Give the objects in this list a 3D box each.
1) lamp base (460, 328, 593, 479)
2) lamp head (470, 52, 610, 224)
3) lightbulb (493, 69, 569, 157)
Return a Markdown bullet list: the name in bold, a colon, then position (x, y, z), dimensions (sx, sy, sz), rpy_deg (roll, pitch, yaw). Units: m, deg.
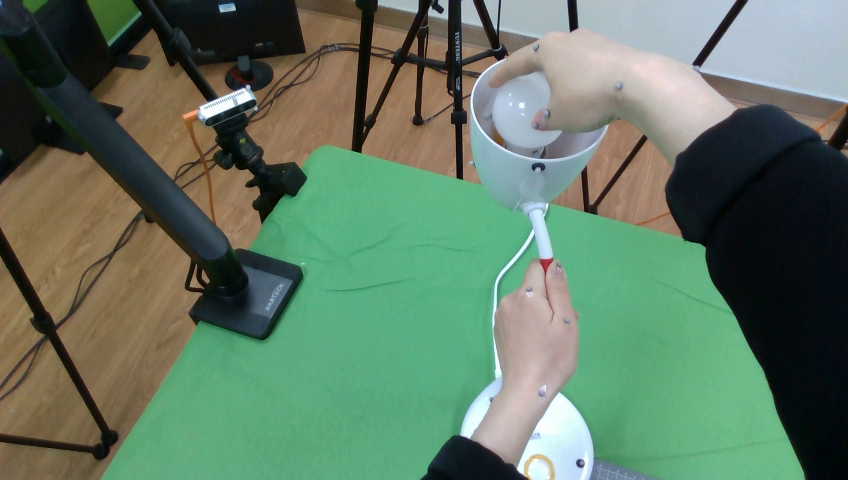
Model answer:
- **lamp base**: position (0.117, 0.188, 0.675), dimensions (0.161, 0.182, 0.177), rpy_deg (-20, 55, -13)
- **lamp head**: position (0.092, -0.077, 0.524), dimensions (0.112, 0.124, 0.111), rpy_deg (1, 56, 0)
- **lightbulb**: position (0.087, -0.094, 0.503), dimensions (0.059, 0.108, 0.059), rpy_deg (-2, 64, 5)
